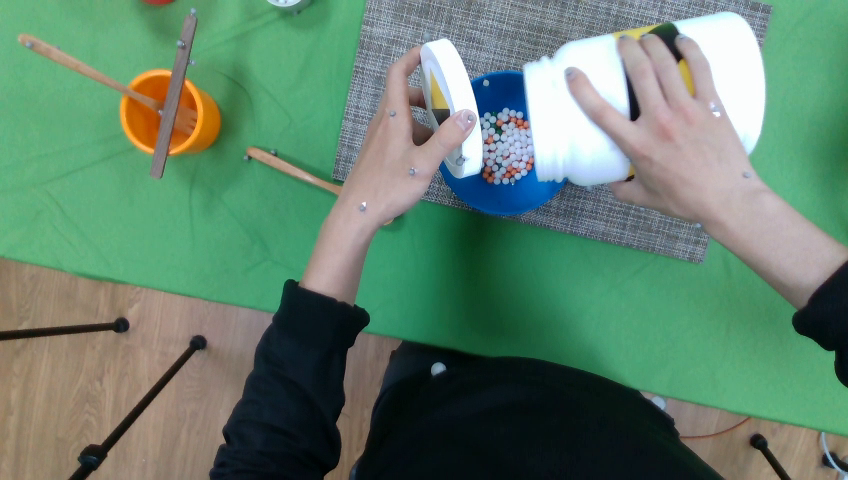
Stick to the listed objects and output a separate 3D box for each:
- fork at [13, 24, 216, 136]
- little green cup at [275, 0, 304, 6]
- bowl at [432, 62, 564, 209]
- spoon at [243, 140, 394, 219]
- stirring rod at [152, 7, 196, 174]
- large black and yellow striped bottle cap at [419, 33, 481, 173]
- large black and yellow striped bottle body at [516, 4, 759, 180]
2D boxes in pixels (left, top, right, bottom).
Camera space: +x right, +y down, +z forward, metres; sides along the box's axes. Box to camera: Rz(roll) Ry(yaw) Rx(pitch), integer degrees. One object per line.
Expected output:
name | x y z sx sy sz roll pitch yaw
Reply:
fork | -0.317 -0.165 0.640 0.209 0.018 0.028 26 101 -45
little green cup | -0.154 -0.294 0.676 0.061 0.038 0.061 0 97 2
bowl | 0.084 -0.111 0.669 0.151 0.076 0.151 0 97 2
spoon | -0.124 -0.076 0.709 0.194 0.021 0.042 24 110 -2
stirring rod | -0.264 -0.156 0.637 0.014 0.006 0.176 14 97 1
large black and yellow striped bottle cap | 0.020 -0.114 0.511 0.019 0.114 0.115 -16 95 -8
large black and yellow striped bottle body | 0.181 -0.126 0.543 0.184 0.130 0.131 -9 96 10
